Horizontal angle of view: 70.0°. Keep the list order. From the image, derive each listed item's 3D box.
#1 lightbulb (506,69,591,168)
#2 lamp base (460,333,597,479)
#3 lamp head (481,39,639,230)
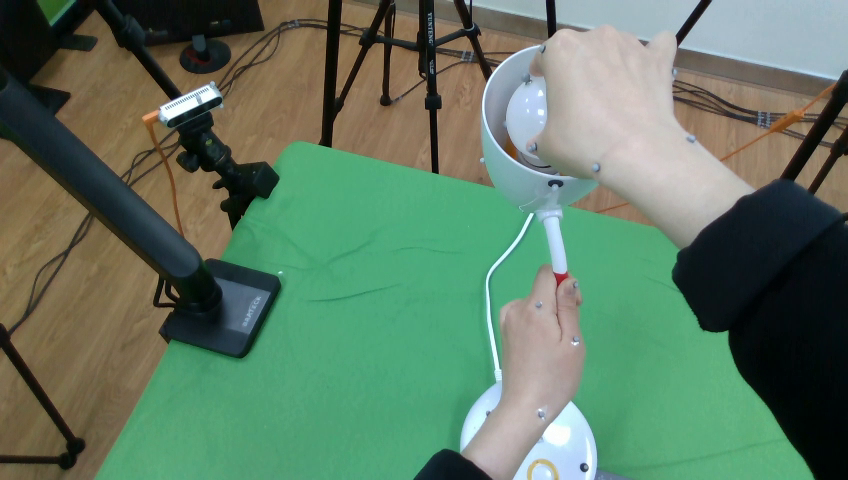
[{"bbox_3d":[0.089,-0.083,0.453,0.059,0.108,0.059,-1,72,3],"label":"lightbulb"},{"bbox_3d":[0.118,0.187,0.653,0.161,0.182,0.177,-21,59,-14],"label":"lamp base"},{"bbox_3d":[0.096,-0.072,0.474,0.112,0.124,0.111,0,64,0],"label":"lamp head"}]
